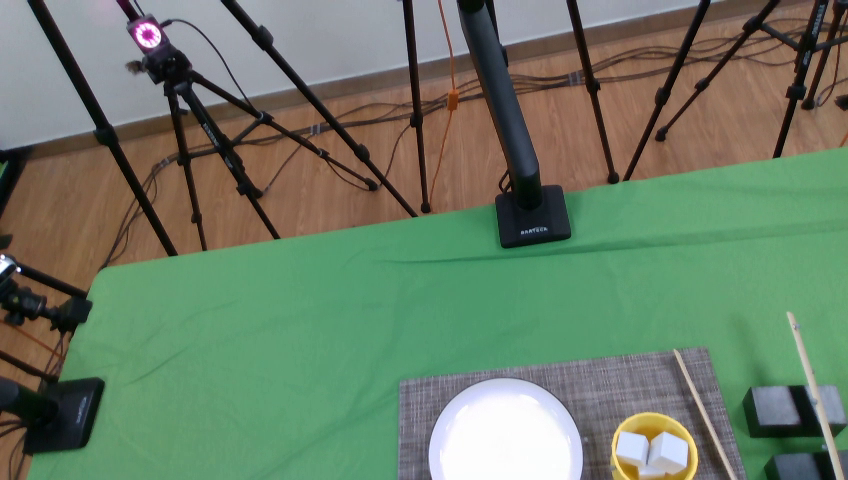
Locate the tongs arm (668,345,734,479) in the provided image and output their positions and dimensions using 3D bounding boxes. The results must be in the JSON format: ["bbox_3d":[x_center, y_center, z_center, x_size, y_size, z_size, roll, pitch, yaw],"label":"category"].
[{"bbox_3d":[0.388,0.296,0.738,0.028,0.028,0.383,-31,49,20],"label":"tongs arm"}]

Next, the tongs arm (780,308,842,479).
[{"bbox_3d":[0.451,0.263,0.698,0.050,0.027,0.381,-22,54,31],"label":"tongs arm"}]

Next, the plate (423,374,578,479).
[{"bbox_3d":[0.103,0.286,0.820,0.207,0.039,0.205,-7,54,10],"label":"plate"}]

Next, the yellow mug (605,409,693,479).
[{"bbox_3d":[0.273,0.283,0.757,0.099,0.064,0.130,20,63,26],"label":"yellow mug"}]
